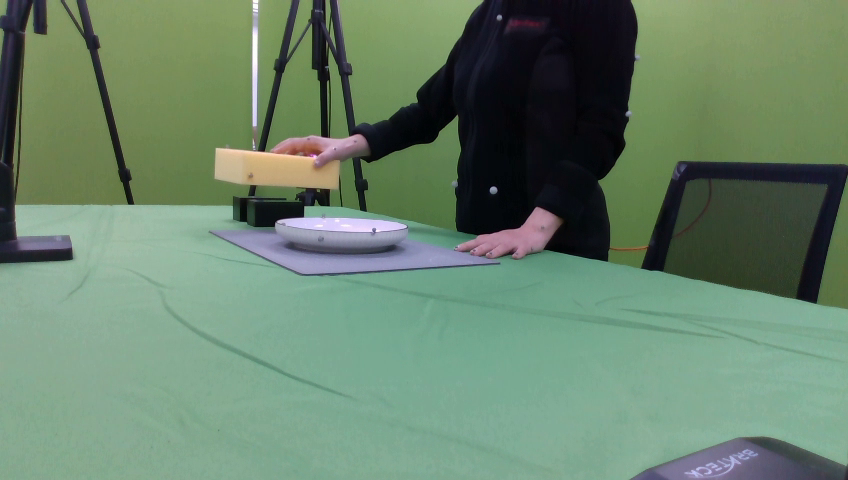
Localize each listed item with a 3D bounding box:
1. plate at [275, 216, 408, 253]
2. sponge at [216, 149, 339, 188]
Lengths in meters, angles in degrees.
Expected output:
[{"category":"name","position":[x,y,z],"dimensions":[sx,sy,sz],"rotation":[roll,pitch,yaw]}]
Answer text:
[{"category":"plate","position":[-0.129,-0.009,0.954],"dimensions":[0.209,0.038,0.209],"rotation":[2,7,0]},{"category":"sponge","position":[-0.285,-0.139,1.182],"dimensions":[0.208,0.061,0.117],"rotation":[-2,10,-43]}]
